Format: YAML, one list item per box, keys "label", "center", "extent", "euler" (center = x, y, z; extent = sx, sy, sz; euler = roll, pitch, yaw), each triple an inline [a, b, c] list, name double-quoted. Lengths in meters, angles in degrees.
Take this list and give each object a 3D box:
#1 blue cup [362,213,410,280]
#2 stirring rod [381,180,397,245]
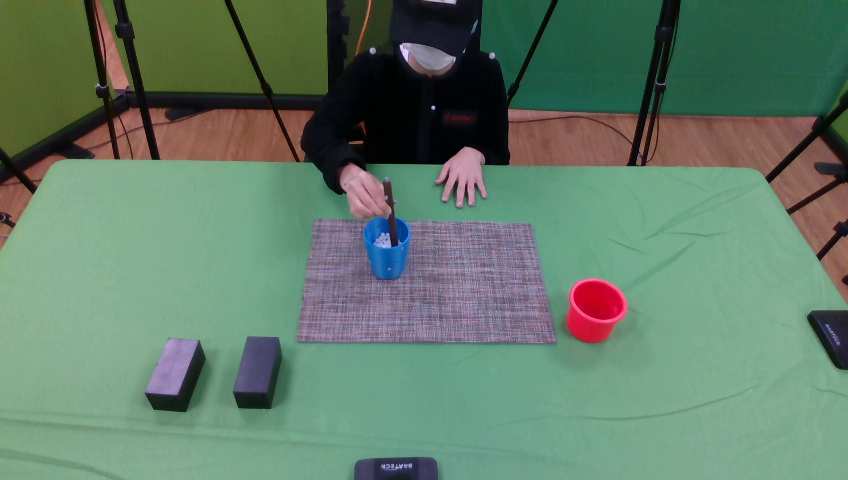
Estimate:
- label: "blue cup"
  center: [-0.069, 0.020, 1.113]
  extent: [0.093, 0.101, 0.092]
  euler: [1, 46, -1]
- label: "stirring rod"
  center: [-0.058, -0.032, 1.039]
  extent: [0.014, 0.177, 0.006]
  euler: [6, 44, 11]
